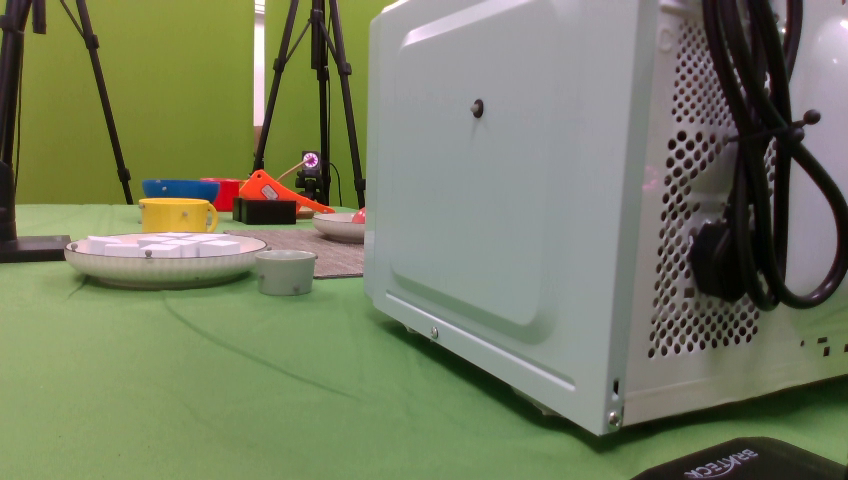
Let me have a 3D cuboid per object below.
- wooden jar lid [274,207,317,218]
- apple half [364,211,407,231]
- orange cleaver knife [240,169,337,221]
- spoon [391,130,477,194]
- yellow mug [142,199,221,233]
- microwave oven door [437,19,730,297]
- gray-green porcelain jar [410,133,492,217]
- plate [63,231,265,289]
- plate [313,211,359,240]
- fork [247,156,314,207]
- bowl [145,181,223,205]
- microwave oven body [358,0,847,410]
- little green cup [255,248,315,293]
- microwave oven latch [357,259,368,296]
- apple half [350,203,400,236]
[{"bbox_3d":[-0.303,-0.065,1.409,0.108,0.020,0.108,3,9,0],"label":"wooden jar lid"},{"bbox_3d":[-0.068,-0.037,1.104,0.081,0.033,0.081,-1,9,0],"label":"apple half"},{"bbox_3d":[-0.287,-0.081,1.298,0.212,0.077,0.012,25,-3,-31],"label":"orange cleaver knife"},{"bbox_3d":[0.016,-0.144,1.089,0.042,0.193,0.021,-45,-11,-28],"label":"spoon"},{"bbox_3d":[-0.373,-0.030,0.948,0.099,0.064,0.131,6,7,30],"label":"yellow mug"},{"bbox_3d":[0.181,-0.076,0.618,0.358,0.243,0.039,-2,9,-28],"label":"microwave oven door"},{"bbox_3d":[0.054,-0.113,1.097,0.106,0.127,0.106,-37,13,10],"label":"gray-green porcelain jar"},{"bbox_3d":[-0.288,0.021,0.687,0.208,0.039,0.207,2,8,0],"label":"plate"},{"bbox_3d":[-0.090,-0.026,1.063,0.209,0.038,0.209,2,7,0],"label":"plate"},{"bbox_3d":[-0.360,-0.147,1.523,0.207,0.018,0.028,-43,16,-7],"label":"fork"},{"bbox_3d":[-0.499,-0.081,1.261,0.151,0.077,0.151,2,8,0],"label":"bowl"},{"bbox_3d":[0.210,-0.051,0.471,0.444,0.260,0.324,-1,7,-28],"label":"microwave oven body"},{"bbox_3d":[-0.144,0.031,0.627,0.061,0.038,0.061,2,6,0],"label":"little green cup"},{"bbox_3d":[-0.019,0.031,0.528,0.079,0.029,0.030,-1,7,-25],"label":"microwave oven latch"},{"bbox_3d":[-0.081,-0.036,1.024,0.081,0.053,0.074,-2,11,-34],"label":"apple half"}]
